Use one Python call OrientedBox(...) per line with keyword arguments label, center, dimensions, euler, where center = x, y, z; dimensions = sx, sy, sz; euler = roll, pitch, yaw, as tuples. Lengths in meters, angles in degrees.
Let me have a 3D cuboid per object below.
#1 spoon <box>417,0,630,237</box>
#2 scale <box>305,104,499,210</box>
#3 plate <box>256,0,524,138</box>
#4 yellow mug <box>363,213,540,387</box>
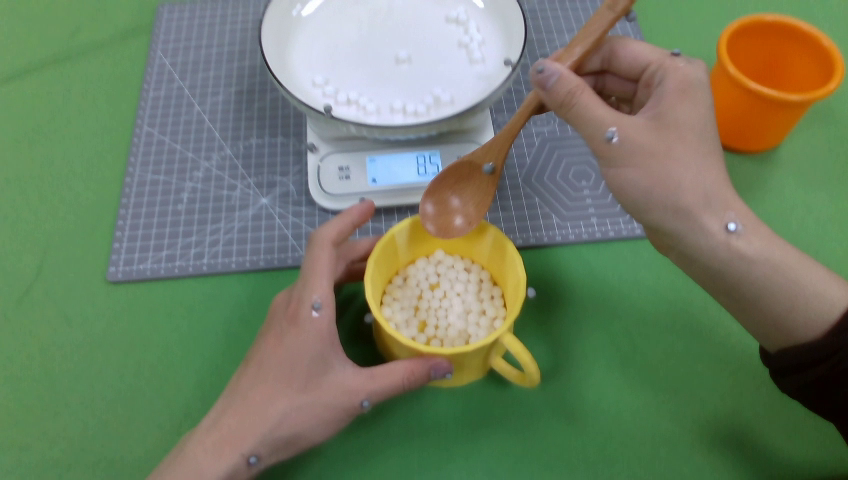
OrientedBox(label="spoon", center=(0.059, -0.075, 0.340), dimensions=(0.041, 0.194, 0.022), euler=(48, 31, 15))
OrientedBox(label="scale", center=(-0.023, -0.119, 0.499), dimensions=(0.149, 0.032, 0.199), euler=(-5, 61, -3))
OrientedBox(label="plate", center=(-0.026, -0.161, 0.485), dimensions=(0.209, 0.038, 0.207), euler=(1, 61, -1))
OrientedBox(label="yellow mug", center=(0.024, 0.047, 0.392), dimensions=(0.130, 0.064, 0.100), euler=(41, 71, 19))
